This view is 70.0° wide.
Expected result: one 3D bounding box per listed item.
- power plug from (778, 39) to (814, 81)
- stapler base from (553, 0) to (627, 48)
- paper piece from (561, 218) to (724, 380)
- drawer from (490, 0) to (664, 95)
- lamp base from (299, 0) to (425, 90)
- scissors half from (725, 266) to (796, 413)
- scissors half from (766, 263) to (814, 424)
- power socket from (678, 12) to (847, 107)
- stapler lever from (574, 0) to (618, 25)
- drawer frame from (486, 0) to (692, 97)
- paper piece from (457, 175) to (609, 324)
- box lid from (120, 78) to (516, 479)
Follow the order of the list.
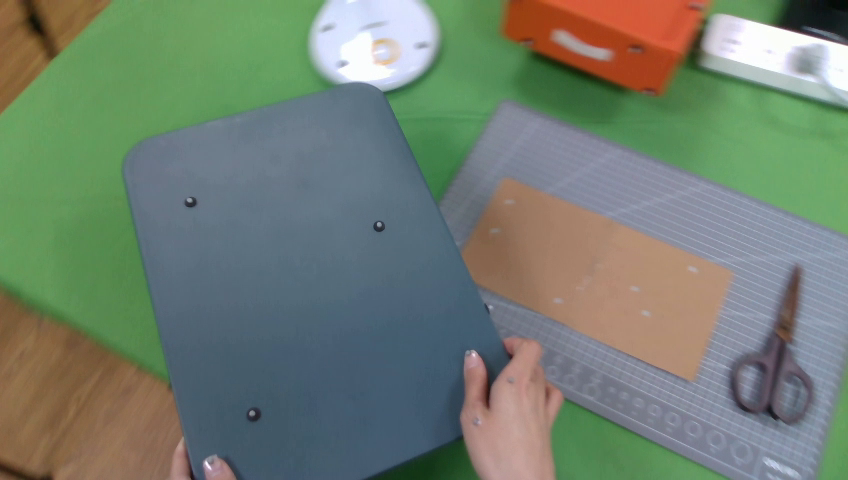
[{"bbox_3d":[0.428,-0.204,0.708,0.035,0.053,0.072,29,70,14],"label":"power plug"},{"bbox_3d":[0.188,-0.284,0.721,0.041,0.024,0.129,-35,66,4],"label":"stapler base"},{"bbox_3d":[0.231,0.057,0.633,0.135,0.004,0.135,25,69,13],"label":"paper piece"},{"bbox_3d":[0.209,-0.296,0.706,0.193,0.074,0.211,26,68,13],"label":"drawer"},{"bbox_3d":[-0.088,-0.296,0.709,0.161,0.181,0.177,-27,65,-10],"label":"lamp base"},{"bbox_3d":[0.349,0.095,0.616,0.039,0.013,0.174,22,68,33],"label":"scissors half"},{"bbox_3d":[0.366,0.099,0.606,0.040,0.013,0.174,7,61,21],"label":"scissors half"},{"bbox_3d":[0.430,-0.222,0.741,0.226,0.033,0.072,19,68,10],"label":"power socket"},{"bbox_3d":[0.178,-0.293,0.698,0.027,0.040,0.117,-35,64,4],"label":"stapler lever"},{"bbox_3d":[0.208,-0.299,0.708,0.201,0.083,0.213,25,68,13],"label":"drawer frame"},{"bbox_3d":[0.113,0.005,0.661,0.135,0.009,0.137,23,70,16],"label":"paper piece"},{"bbox_3d":[-0.104,0.026,0.533,0.263,0.015,0.368,-20,67,-11],"label":"box lid"}]
